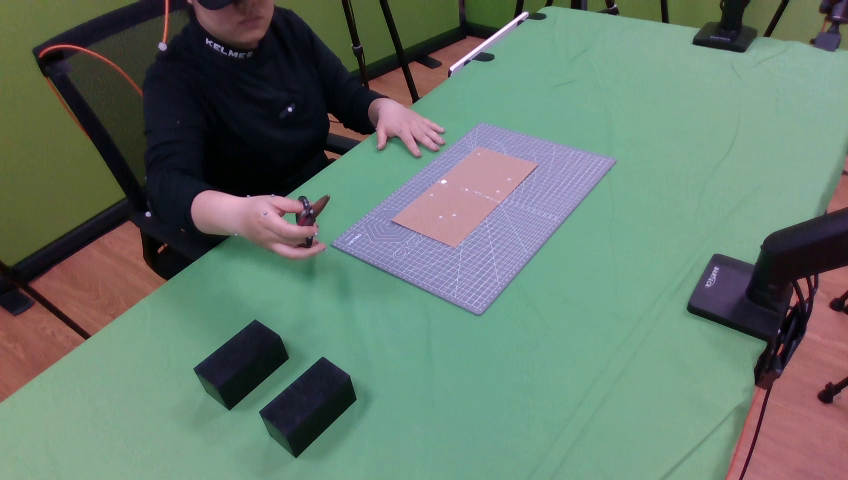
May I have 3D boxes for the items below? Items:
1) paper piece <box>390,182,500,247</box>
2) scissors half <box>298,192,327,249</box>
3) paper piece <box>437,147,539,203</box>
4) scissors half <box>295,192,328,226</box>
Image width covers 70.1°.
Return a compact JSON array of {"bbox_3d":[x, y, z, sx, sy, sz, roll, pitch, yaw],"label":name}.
[{"bbox_3d":[0.037,-0.048,1.027,0.134,0.004,0.136,24,48,30],"label":"paper piece"},{"bbox_3d":[-0.146,-0.027,0.796,0.013,0.175,0.040,-4,70,-22],"label":"scissors half"},{"bbox_3d":[0.117,-0.122,1.104,0.135,0.009,0.138,26,49,28],"label":"paper piece"},{"bbox_3d":[-0.149,-0.046,0.799,0.013,0.040,0.174,-10,-1,-24],"label":"scissors half"}]
